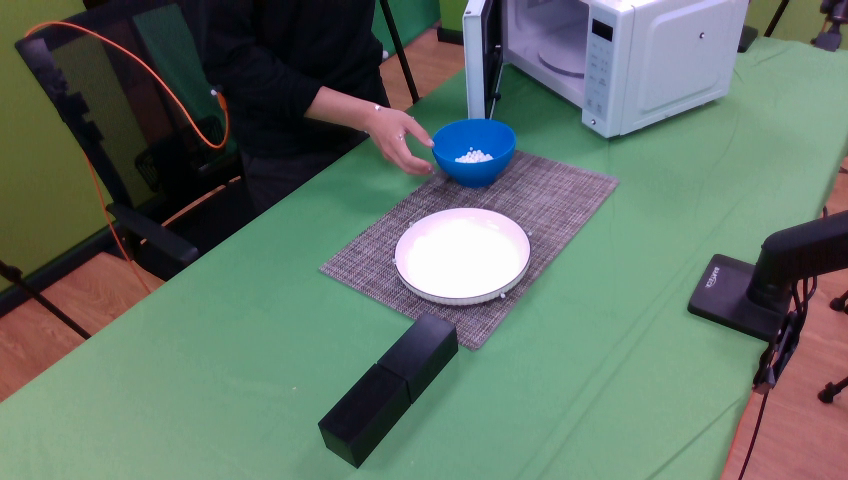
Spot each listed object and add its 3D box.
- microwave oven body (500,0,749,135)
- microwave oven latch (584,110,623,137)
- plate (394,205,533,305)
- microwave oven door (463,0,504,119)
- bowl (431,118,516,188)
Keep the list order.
[{"bbox_3d":[0.382,-0.444,1.246,0.327,0.261,0.437,-22,42,-16],"label":"microwave oven body"},{"bbox_3d":[0.337,-0.222,1.142,0.030,0.029,0.078,-21,42,-14],"label":"microwave oven latch"},{"bbox_3d":[0.059,0.025,0.915,0.207,0.039,0.206,-4,41,4],"label":"plate"},{"bbox_3d":[0.125,-0.403,1.226,0.039,0.245,0.355,3,42,12],"label":"microwave oven door"},{"bbox_3d":[0.090,-0.147,1.080,0.151,0.077,0.150,-4,40,4],"label":"bowl"}]
